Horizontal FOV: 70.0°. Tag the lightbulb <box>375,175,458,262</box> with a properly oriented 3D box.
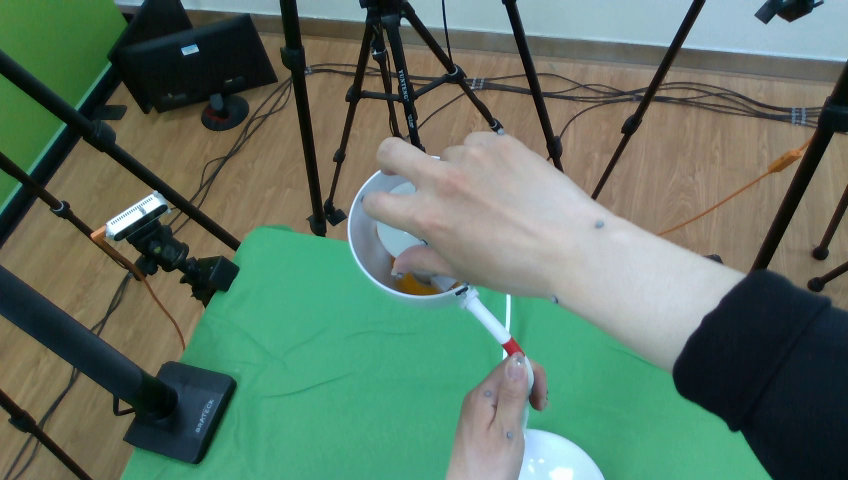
[{"bbox_3d":[-0.004,-0.008,0.454,0.059,0.108,0.059,-1,70,2],"label":"lightbulb"}]

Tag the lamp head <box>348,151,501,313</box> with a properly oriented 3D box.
[{"bbox_3d":[0.006,0.007,0.484,0.112,0.124,0.111,-3,66,7],"label":"lamp head"}]

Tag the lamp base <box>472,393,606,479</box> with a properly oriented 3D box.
[{"bbox_3d":[0.119,0.247,0.647,0.161,0.182,0.177,-24,55,-7],"label":"lamp base"}]
